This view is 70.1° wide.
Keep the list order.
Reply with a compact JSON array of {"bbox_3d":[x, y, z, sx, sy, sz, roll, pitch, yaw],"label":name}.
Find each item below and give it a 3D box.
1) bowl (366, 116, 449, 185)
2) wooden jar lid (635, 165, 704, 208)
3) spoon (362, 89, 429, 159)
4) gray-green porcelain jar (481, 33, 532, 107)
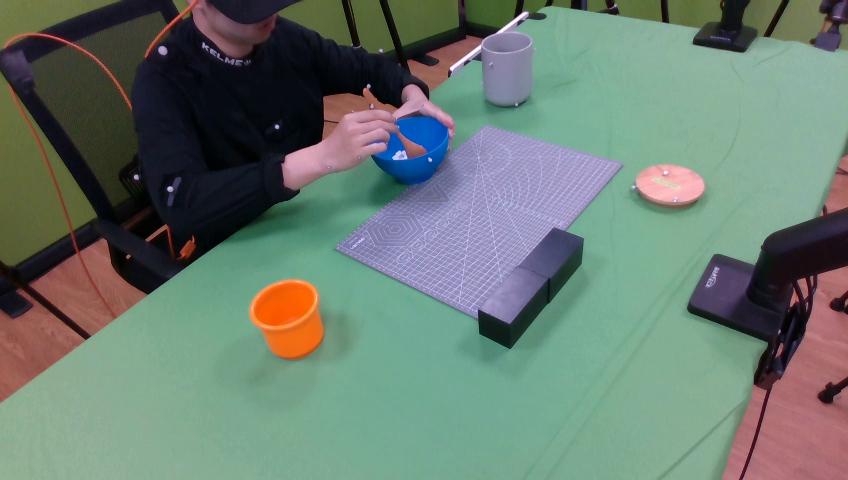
[{"bbox_3d":[-0.024,-0.154,1.106,0.151,0.077,0.150,-7,40,6],"label":"bowl"},{"bbox_3d":[0.410,-0.089,1.014,0.108,0.021,0.108,-5,42,5],"label":"wooden jar lid"},{"bbox_3d":[-0.048,-0.186,1.030,0.041,0.195,0.021,-47,38,-2],"label":"spoon"},{"bbox_3d":[0.175,-0.355,1.278,0.106,0.127,0.105,-4,41,4],"label":"gray-green porcelain jar"}]
